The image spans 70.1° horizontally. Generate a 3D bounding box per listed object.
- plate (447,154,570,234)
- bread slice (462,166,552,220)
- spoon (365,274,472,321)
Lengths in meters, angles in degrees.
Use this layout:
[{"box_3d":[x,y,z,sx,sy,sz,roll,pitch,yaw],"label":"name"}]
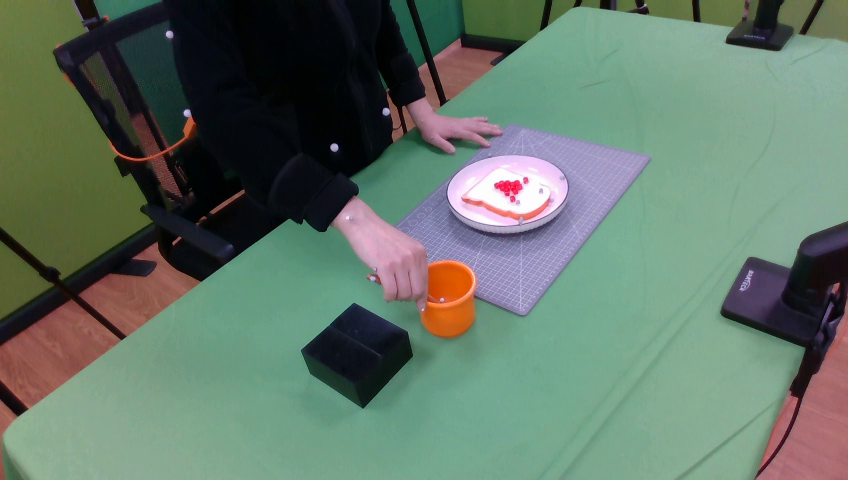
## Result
[{"box_3d":[0.143,-0.076,1.032,0.209,0.038,0.208,-5,40,5],"label":"plate"},{"box_3d":[0.150,-0.079,1.036,0.133,0.018,0.107,22,50,31],"label":"bread slice"},{"box_3d":[-0.004,0.073,0.791,0.021,0.195,0.041,-55,42,7],"label":"spoon"}]
